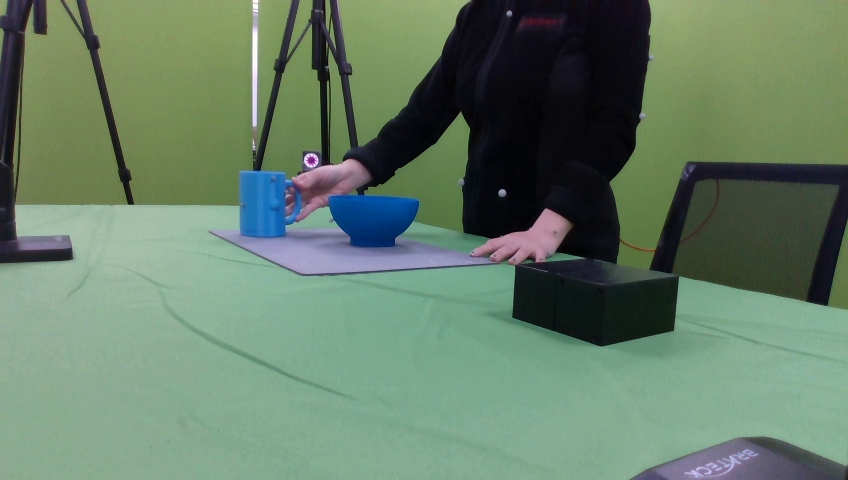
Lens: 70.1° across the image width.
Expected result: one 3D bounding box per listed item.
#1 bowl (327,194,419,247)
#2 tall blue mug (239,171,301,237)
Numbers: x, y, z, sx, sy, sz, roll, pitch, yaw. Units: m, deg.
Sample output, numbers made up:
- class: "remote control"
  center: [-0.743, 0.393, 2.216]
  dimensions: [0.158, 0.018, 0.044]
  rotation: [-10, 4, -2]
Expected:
- class: "bowl"
  center: [-0.083, -0.032, 0.987]
  dimensions: [0.151, 0.077, 0.151]
  rotation: [2, 7, 0]
- class: "tall blue mug"
  center: [-0.273, -0.065, 1.055]
  dimensions: [0.077, 0.108, 0.107]
  rotation: [3, 8, 15]
